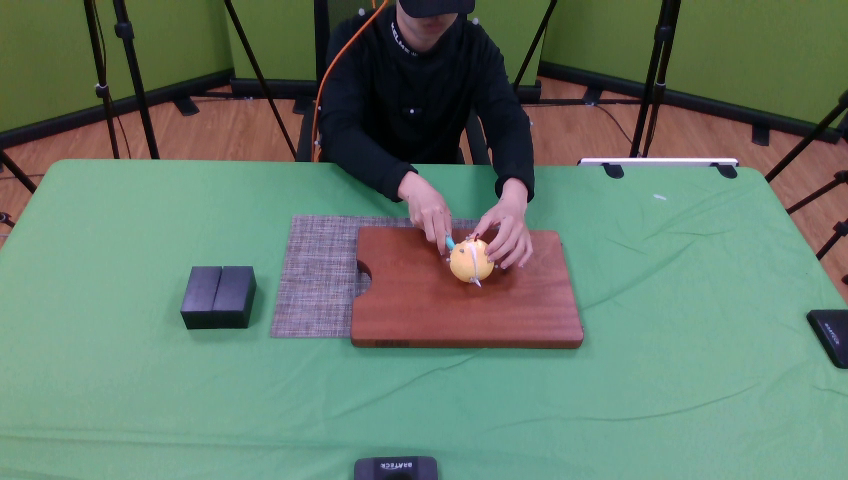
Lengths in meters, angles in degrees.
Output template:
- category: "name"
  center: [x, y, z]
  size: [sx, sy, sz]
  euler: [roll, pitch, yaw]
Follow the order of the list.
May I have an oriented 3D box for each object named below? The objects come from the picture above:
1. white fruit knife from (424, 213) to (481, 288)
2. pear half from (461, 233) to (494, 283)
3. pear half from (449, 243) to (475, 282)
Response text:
- category: "white fruit knife"
  center: [0.052, 0.016, 1.120]
  size: [0.016, 0.027, 0.206]
  euler: [-23, 52, -17]
- category: "pear half"
  center: [0.099, 0.024, 1.086]
  size: [0.056, 0.110, 0.076]
  euler: [-22, 55, -23]
- category: "pear half"
  center: [0.063, 0.042, 1.080]
  size: [0.031, 0.088, 0.070]
  euler: [-29, 56, -19]
